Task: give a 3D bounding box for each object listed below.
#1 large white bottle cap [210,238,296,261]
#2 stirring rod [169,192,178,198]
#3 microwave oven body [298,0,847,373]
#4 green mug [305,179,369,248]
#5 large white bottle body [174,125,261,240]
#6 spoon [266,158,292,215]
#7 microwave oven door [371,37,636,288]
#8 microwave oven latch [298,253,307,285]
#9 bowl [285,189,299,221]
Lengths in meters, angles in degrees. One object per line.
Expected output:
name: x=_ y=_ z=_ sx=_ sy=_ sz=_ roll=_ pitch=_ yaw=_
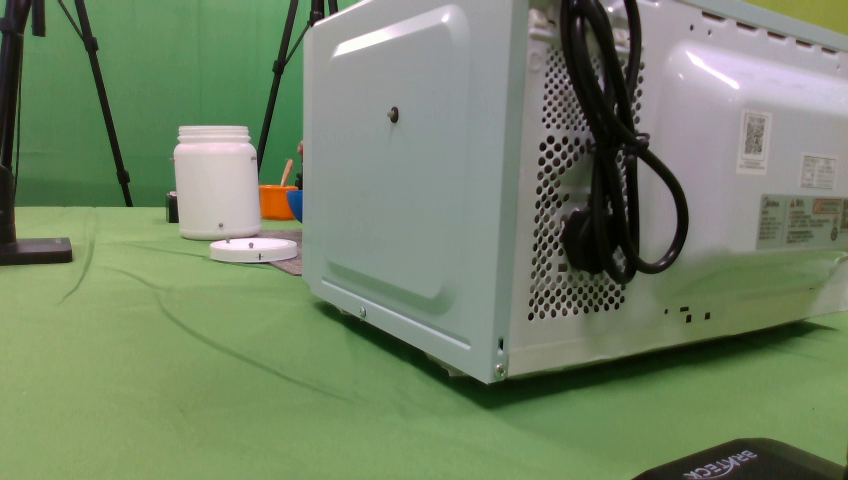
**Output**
large white bottle cap: x=-0.236 y=0.012 z=0.839 sx=0.115 sy=0.018 sz=0.115 roll=1 pitch=7 yaw=0
stirring rod: x=-0.465 y=-0.098 z=1.283 sx=0.014 sy=0.006 sz=0.177 roll=42 pitch=21 yaw=17
microwave oven body: x=0.151 y=-0.055 z=0.542 sx=0.444 sy=0.260 sz=0.324 roll=-2 pitch=7 yaw=-33
green mug: x=-0.133 y=-0.044 z=0.977 sx=0.092 sy=0.105 sz=0.126 roll=6 pitch=8 yaw=32
large white bottle body: x=-0.349 y=-0.100 z=1.024 sx=0.131 sy=0.184 sz=0.130 roll=-1 pitch=9 yaw=0
spoon: x=-0.334 y=-0.127 z=1.423 sx=0.041 sy=0.193 sz=0.022 roll=0 pitch=-37 yaw=7
microwave oven door: x=0.109 y=-0.080 z=0.687 sx=0.358 sy=0.243 sz=0.039 roll=-2 pitch=9 yaw=-33
microwave oven latch: x=-0.081 y=0.027 z=0.582 sx=0.079 sy=0.029 sz=0.030 roll=-1 pitch=7 yaw=-32
bowl: x=-0.180 y=-0.051 z=1.113 sx=0.151 sy=0.077 sz=0.151 roll=3 pitch=8 yaw=0
